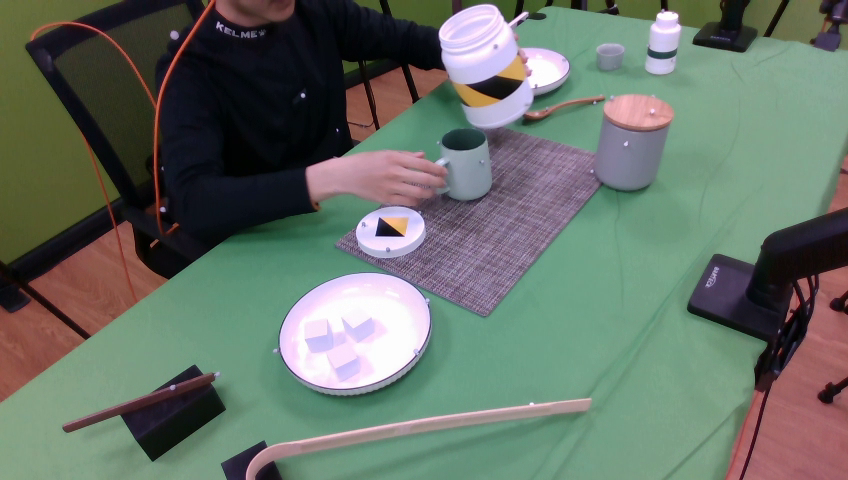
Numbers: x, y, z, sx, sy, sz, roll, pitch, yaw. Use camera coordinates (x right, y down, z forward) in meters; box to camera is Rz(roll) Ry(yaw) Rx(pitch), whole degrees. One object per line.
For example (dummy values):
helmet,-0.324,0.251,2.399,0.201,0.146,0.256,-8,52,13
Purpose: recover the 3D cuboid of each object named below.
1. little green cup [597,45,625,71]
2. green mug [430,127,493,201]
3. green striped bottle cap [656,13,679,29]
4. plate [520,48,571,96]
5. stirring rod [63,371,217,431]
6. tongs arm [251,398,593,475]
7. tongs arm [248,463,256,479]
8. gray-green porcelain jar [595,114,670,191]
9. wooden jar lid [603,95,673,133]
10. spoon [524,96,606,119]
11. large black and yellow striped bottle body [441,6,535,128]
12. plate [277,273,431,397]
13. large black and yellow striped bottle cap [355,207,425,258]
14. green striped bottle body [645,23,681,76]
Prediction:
little green cup,0.423,-0.413,1.375,0.061,0.039,0.061,-3,41,3
green mug,0.059,-0.122,1.034,0.126,0.105,0.092,-35,48,-28
green striped bottle cap,0.515,-0.463,1.278,0.044,0.020,0.044,-6,42,6
plate,0.223,-0.371,1.357,0.209,0.038,0.208,-4,41,4
stirring rod,-0.337,0.192,0.723,0.177,0.014,0.005,-18,43,-12
tongs arm,0.008,0.213,0.675,0.389,0.028,0.028,-5,46,-11
tongs arm,0.012,0.263,0.615,0.385,0.026,0.050,2,41,-2
gray-green porcelain jar,0.346,-0.155,1.017,0.106,0.127,0.105,-2,44,2
wooden jar lid,0.343,-0.200,0.974,0.108,0.021,0.108,-2,39,2
spoon,0.291,-0.277,1.249,0.194,0.022,0.041,-17,27,-11
large black and yellow striped bottle body,0.114,-0.309,1.087,0.130,0.185,0.130,-17,42,17
plate,-0.091,0.129,0.821,0.207,0.039,0.206,-4,40,4
large black and yellow striped bottle cap,-0.056,-0.014,0.993,0.115,0.019,0.114,-3,40,3
green striped bottle body,0.520,-0.424,1.312,0.063,0.120,0.063,-4,40,4
